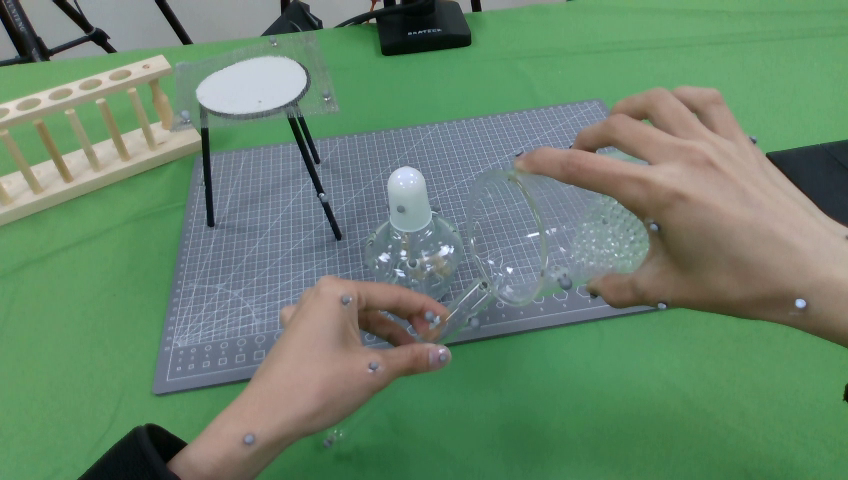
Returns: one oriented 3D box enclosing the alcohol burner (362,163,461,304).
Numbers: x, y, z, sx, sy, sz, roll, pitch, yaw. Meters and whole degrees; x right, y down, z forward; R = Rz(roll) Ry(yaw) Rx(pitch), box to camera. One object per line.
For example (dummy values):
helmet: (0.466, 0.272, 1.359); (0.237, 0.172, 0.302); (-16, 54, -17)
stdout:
alcohol burner: (-0.010, -0.008, 0.463); (0.078, 0.120, 0.077); (-2, 43, 2)

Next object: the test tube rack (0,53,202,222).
test tube rack: (-0.360, -0.100, 0.607); (0.242, 0.086, 0.066); (-26, 49, -21)

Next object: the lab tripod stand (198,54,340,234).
lab tripod stand: (-0.136, -0.081, 0.532); (0.148, 0.133, 0.147); (-2, 47, 3)

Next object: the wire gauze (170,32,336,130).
wire gauze: (-0.141, -0.128, 0.484); (0.125, 0.011, 0.120); (-13, 45, -8)

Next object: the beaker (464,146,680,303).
beaker: (0.083, -0.010, 0.340); (0.100, 0.084, 0.073); (-13, 52, -24)

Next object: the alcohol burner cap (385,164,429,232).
alcohol burner cap: (-0.014, -0.033, 0.438); (0.034, 0.048, 0.033); (-3, 46, 4)

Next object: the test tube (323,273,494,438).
test tube: (-0.013, 0.074, 0.372); (0.150, 0.017, 0.017); (-46, 44, 18)
